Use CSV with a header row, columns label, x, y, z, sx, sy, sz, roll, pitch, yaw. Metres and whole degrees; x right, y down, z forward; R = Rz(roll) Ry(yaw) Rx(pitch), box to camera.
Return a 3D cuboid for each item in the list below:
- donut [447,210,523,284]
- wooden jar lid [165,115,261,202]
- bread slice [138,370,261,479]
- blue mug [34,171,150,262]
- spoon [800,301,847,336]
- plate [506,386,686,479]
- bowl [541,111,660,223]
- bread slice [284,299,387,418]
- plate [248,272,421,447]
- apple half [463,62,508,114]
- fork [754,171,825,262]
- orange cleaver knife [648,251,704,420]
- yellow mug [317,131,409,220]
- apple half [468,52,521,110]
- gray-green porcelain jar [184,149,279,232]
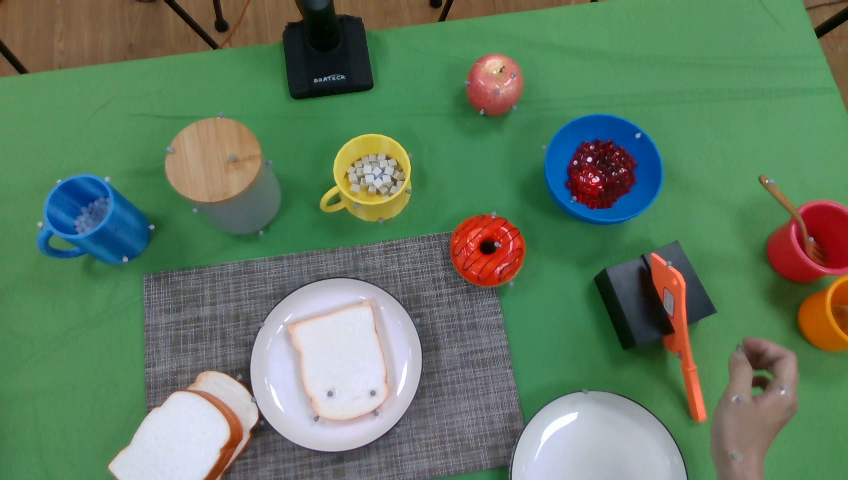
label,x,y,z,sx,sy,sz,roll,pitch,yaw
donut,0.078,0.009,0.783,0.099,0.048,0.098,1,74,-1
wooden jar lid,-0.243,-0.092,0.702,0.108,0.021,0.107,0,71,0
bread slice,-0.253,0.223,0.713,0.104,0.019,0.131,30,76,7
blue mug,-0.417,-0.018,0.750,0.116,0.106,0.082,-33,76,-11
spoon,0.555,0.071,0.724,0.022,0.193,0.041,5,63,-47
plate,0.198,0.278,0.709,0.209,0.038,0.208,0,73,0
bowl,0.224,-0.085,0.801,0.151,0.077,0.150,0,73,-1
bread slice,-0.100,0.147,0.740,0.107,0.018,0.133,-19,74,-7
plate,-0.107,0.144,0.740,0.208,0.039,0.206,0,73,-1
apple half,0.076,-0.200,0.834,0.033,0.082,0.081,-40,77,-17
fork,0.458,-0.027,0.752,0.209,0.018,0.028,35,69,-34
orange cleaver knife,0.305,0.116,0.738,0.012,0.077,0.212,-17,103,-5
yellow mug,-0.083,-0.077,0.798,0.131,0.064,0.099,-31,76,-10
apple half,0.104,-0.225,0.844,0.053,0.075,0.080,-39,73,-18
gray-green porcelain jar,-0.243,-0.073,0.761,0.106,0.127,0.105,0,72,-1
